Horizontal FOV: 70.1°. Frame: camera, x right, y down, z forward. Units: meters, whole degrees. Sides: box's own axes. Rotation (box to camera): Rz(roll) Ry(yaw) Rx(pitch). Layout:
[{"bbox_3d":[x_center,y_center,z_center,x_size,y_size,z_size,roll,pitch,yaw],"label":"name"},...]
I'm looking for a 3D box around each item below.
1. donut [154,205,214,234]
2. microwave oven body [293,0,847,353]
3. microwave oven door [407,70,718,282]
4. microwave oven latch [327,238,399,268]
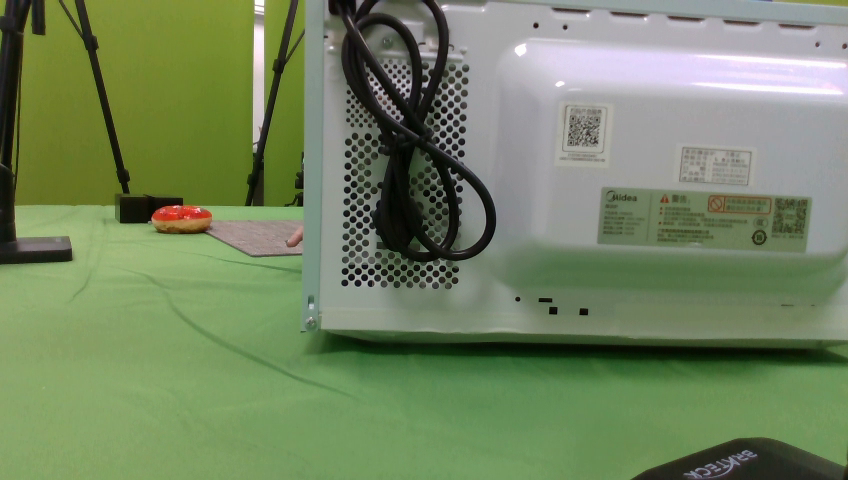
[{"bbox_3d":[-0.426,-0.037,1.075,0.099,0.048,0.099,2,12,0],"label":"donut"},{"bbox_3d":[0.122,-0.055,0.550,0.442,0.260,0.325,3,7,-5],"label":"microwave oven body"},{"bbox_3d":[0.159,-0.083,0.745,0.355,0.243,0.039,4,8,11],"label":"microwave oven door"},{"bbox_3d":[-0.069,0.015,0.694,0.079,0.029,0.030,3,7,-3],"label":"microwave oven latch"}]
